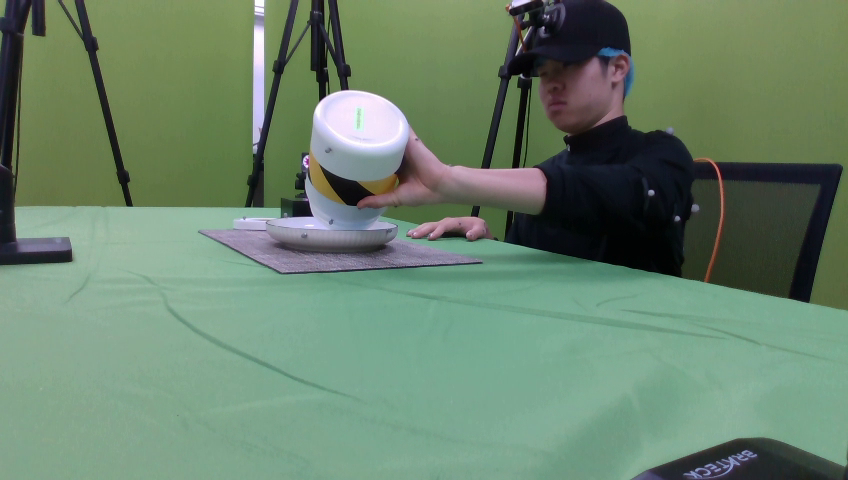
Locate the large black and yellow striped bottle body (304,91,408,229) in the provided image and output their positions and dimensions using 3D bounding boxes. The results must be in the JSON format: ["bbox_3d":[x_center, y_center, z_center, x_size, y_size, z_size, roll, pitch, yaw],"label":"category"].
[{"bbox_3d":[-0.105,-0.107,0.879,0.131,0.184,0.130,9,50,-10],"label":"large black and yellow striped bottle body"}]

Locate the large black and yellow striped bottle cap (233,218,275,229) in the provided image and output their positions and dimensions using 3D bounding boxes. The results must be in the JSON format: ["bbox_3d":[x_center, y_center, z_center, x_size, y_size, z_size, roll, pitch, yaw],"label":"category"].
[{"bbox_3d":[-0.311,-0.032,1.172,0.115,0.019,0.115,1,4,0],"label":"large black and yellow striped bottle cap"}]

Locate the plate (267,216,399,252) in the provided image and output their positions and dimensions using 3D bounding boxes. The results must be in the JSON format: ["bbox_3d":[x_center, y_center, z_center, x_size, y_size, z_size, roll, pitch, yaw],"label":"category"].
[{"bbox_3d":[-0.145,-0.010,0.967,0.208,0.039,0.207,2,7,0],"label":"plate"}]
